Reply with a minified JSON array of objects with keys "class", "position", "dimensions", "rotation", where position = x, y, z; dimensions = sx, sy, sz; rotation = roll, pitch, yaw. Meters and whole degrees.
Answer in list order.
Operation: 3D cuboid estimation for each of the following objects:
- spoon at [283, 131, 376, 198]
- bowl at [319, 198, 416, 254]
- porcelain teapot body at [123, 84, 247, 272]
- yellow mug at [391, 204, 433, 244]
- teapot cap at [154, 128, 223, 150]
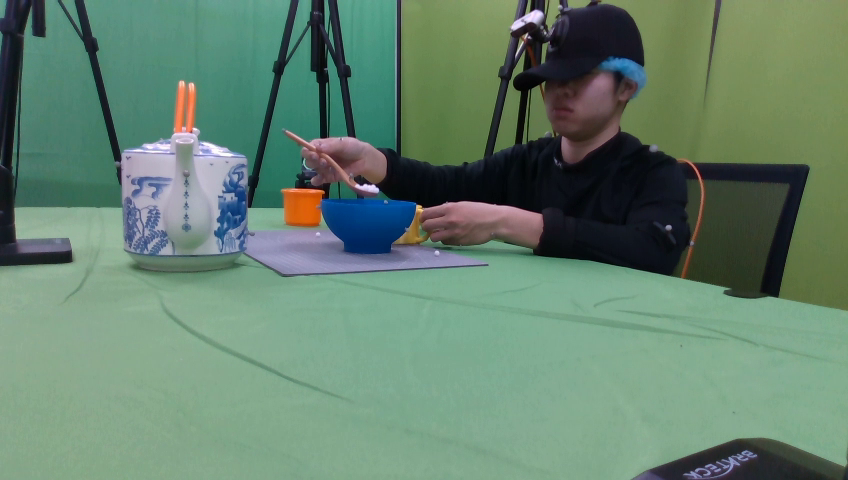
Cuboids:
[{"class":"spoon","position":[-0.154,-0.123,0.977],"dimensions":[0.193,0.021,0.042],"rotation":[40,13,13]},{"class":"bowl","position":[-0.089,-0.022,0.941],"dimensions":[0.151,0.077,0.151],"rotation":[2,7,0]},{"class":"porcelain teapot body","position":[-0.286,-0.075,0.734],"dimensions":[0.146,0.225,0.204],"rotation":[0,8,-24]},{"class":"yellow mug","position":[-0.042,-0.030,1.070],"dimensions":[0.130,0.064,0.100],"rotation":[7,9,28]},{"class":"teapot cap","position":[-0.294,-0.117,0.754],"dimensions":[0.085,0.044,0.085],"rotation":[4,9,0]}]
